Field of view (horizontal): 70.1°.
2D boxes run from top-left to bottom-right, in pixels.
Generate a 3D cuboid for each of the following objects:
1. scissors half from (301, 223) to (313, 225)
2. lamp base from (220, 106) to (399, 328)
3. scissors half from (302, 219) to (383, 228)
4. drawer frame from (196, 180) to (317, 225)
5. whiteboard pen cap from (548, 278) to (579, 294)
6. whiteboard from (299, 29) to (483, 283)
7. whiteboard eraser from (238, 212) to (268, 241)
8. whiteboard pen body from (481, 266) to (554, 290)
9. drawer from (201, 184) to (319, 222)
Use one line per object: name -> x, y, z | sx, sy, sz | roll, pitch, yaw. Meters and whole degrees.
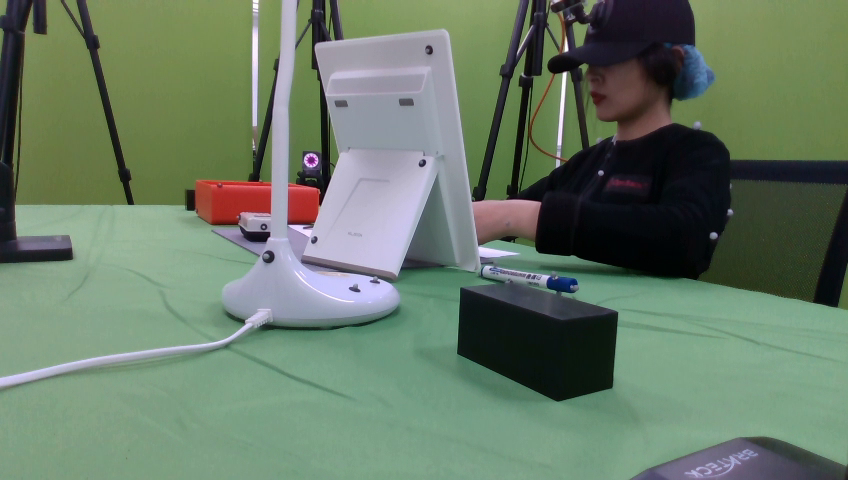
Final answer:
scissors half -> -0.152, -0.035, 1.181 | 0.176, 0.013, 0.040 | -4, -7, -20
lamp base -> -0.101, -0.023, 0.531 | 0.160, 0.180, 0.179 | 4, 10, 10
scissors half -> -0.160, -0.032, 1.199 | 0.176, 0.013, 0.040 | 0, -14, -36
drawer frame -> -0.359, -0.083, 1.292 | 0.215, 0.082, 0.200 | -2, 10, -30
whiteboard pen cap -> 0.148, 0.049, 0.647 | 0.018, 0.018, 0.033 | -3, 3, -36
whiteboard -> -0.074, -0.082, 0.742 | 0.216, 0.305, 0.144 | 9, 29, 38
whiteboard eraser -> -0.272, -0.024, 0.998 | 0.056, 0.042, 0.112 | -2, 9, -24
whiteboard pen body -> 0.115, 0.044, 0.695 | 0.017, 0.017, 0.140 | -3, 6, -35
drawer -> -0.353, -0.082, 1.296 | 0.213, 0.073, 0.193 | -2, 10, -28
